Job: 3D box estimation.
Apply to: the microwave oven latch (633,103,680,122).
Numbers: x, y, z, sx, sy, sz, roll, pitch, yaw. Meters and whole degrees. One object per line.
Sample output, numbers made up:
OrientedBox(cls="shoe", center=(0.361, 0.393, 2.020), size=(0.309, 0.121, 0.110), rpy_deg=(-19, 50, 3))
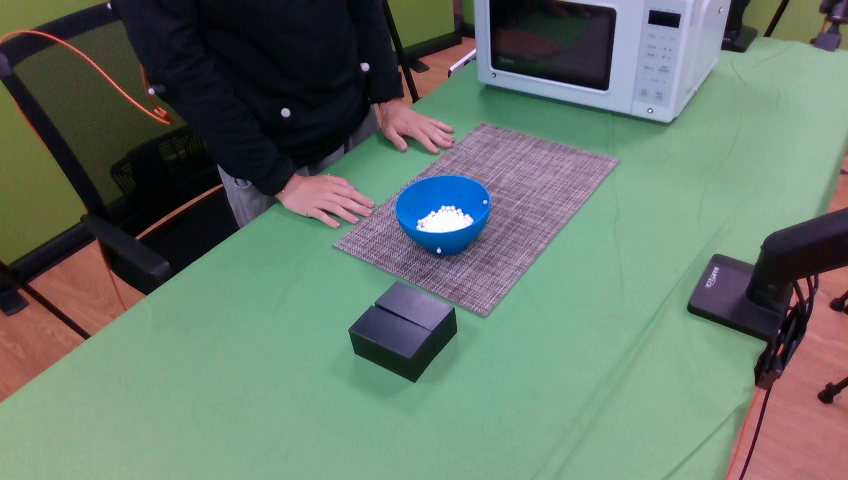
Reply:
OrientedBox(cls="microwave oven latch", center=(0.443, -0.249, 1.157), size=(0.078, 0.029, 0.030), rpy_deg=(21, 48, 30))

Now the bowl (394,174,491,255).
OrientedBox(cls="bowl", center=(0.032, -0.029, 0.949), size=(0.151, 0.077, 0.150), rpy_deg=(-4, 40, 4))

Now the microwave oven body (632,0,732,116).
OrientedBox(cls="microwave oven body", center=(0.377, -0.462, 1.267), size=(0.438, 0.261, 0.327), rpy_deg=(21, 48, 30))

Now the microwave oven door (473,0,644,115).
OrientedBox(cls="microwave oven door", center=(0.257, -0.396, 1.199), size=(0.353, 0.245, 0.039), rpy_deg=(21, 48, 29))
